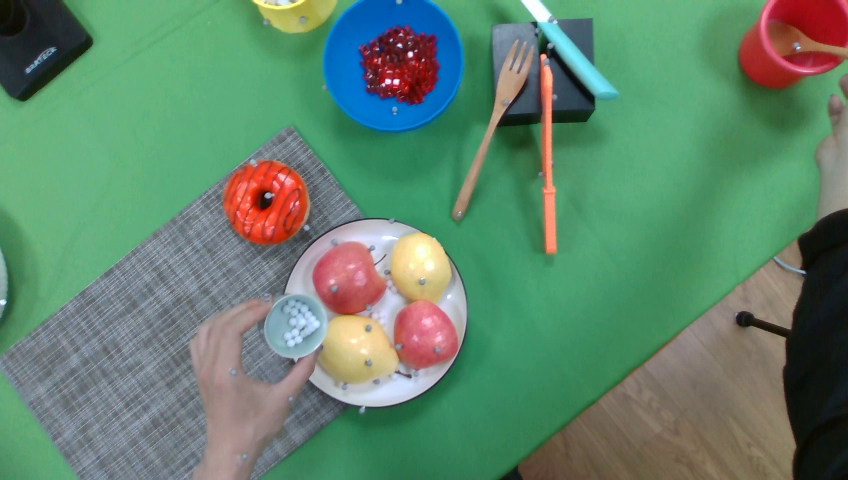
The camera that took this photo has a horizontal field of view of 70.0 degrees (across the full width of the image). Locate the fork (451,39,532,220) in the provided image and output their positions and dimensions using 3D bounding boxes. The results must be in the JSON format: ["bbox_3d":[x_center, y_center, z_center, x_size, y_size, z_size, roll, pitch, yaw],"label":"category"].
[{"bbox_3d":[0.069,-0.114,0.660,0.028,0.018,0.208,20,108,-3],"label":"fork"}]

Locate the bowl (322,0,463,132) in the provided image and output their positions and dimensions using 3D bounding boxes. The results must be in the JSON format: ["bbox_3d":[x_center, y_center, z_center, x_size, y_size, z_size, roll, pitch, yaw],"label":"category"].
[{"bbox_3d":[-0.031,-0.187,0.676,0.151,0.077,0.151,0,87,3],"label":"bowl"}]

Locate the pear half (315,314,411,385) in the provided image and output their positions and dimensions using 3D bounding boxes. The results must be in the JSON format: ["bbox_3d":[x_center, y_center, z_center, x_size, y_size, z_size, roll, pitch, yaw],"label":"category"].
[{"bbox_3d":[-0.063,0.127,0.660,0.110,0.056,0.076,24,93,2],"label":"pear half"}]

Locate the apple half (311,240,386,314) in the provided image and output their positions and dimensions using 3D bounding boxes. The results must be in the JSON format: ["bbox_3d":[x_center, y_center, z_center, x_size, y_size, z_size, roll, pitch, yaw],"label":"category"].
[{"bbox_3d":[-0.086,0.042,0.663,0.074,0.053,0.080,-21,89,3],"label":"apple half"}]

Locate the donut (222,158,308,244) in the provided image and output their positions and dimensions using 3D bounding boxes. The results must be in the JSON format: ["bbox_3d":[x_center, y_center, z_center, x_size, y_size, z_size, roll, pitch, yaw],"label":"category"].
[{"bbox_3d":[-0.180,-0.044,0.689,0.099,0.048,0.099,0,88,6],"label":"donut"}]

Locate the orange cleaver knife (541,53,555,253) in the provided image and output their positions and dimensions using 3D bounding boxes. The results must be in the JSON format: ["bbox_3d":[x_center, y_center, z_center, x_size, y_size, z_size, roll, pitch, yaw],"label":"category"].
[{"bbox_3d":[0.134,-0.091,0.657,0.012,0.077,0.212,-3,112,9],"label":"orange cleaver knife"}]

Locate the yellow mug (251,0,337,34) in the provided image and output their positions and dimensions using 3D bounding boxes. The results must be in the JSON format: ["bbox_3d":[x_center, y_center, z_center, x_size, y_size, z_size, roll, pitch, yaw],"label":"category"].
[{"bbox_3d":[-0.170,-0.303,0.697,0.130,0.064,0.100,19,88,6],"label":"yellow mug"}]

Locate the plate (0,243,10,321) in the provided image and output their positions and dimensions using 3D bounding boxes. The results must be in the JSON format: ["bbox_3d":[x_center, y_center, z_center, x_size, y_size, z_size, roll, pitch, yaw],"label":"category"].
[{"bbox_3d":[-0.585,0.054,0.716,0.207,0.039,0.207,0,86,4],"label":"plate"}]

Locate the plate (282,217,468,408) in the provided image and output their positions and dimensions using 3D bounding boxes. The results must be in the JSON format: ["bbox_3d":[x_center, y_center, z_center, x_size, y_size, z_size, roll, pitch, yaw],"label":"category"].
[{"bbox_3d":[-0.054,0.079,0.676,0.209,0.038,0.208,0,86,3],"label":"plate"}]

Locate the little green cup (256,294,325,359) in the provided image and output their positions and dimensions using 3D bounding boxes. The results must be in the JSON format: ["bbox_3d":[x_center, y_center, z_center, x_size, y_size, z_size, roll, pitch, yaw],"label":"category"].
[{"bbox_3d":[-0.131,0.081,0.584,0.062,0.038,0.061,-3,96,-30],"label":"little green cup"}]

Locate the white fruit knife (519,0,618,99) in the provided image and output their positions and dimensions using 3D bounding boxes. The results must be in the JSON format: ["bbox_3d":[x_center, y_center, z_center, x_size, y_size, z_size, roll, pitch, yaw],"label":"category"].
[{"bbox_3d":[0.133,-0.230,0.650,0.027,0.016,0.206,-34,82,-28],"label":"white fruit knife"}]

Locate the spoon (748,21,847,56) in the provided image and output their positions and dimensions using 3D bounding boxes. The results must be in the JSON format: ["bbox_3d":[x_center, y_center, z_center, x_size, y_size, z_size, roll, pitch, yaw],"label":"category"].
[{"bbox_3d":[0.415,-0.190,0.610,0.022,0.191,0.041,36,96,-37],"label":"spoon"}]

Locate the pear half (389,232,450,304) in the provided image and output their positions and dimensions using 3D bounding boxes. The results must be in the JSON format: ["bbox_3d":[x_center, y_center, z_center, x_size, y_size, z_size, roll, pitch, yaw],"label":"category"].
[{"bbox_3d":[-0.010,0.036,0.661,0.070,0.031,0.088,-8,96,27],"label":"pear half"}]

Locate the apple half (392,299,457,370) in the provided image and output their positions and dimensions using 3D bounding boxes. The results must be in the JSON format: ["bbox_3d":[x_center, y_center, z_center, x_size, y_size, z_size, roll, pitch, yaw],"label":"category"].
[{"bbox_3d":[-0.008,0.105,0.654,0.081,0.033,0.081,4,100,24],"label":"apple half"}]
